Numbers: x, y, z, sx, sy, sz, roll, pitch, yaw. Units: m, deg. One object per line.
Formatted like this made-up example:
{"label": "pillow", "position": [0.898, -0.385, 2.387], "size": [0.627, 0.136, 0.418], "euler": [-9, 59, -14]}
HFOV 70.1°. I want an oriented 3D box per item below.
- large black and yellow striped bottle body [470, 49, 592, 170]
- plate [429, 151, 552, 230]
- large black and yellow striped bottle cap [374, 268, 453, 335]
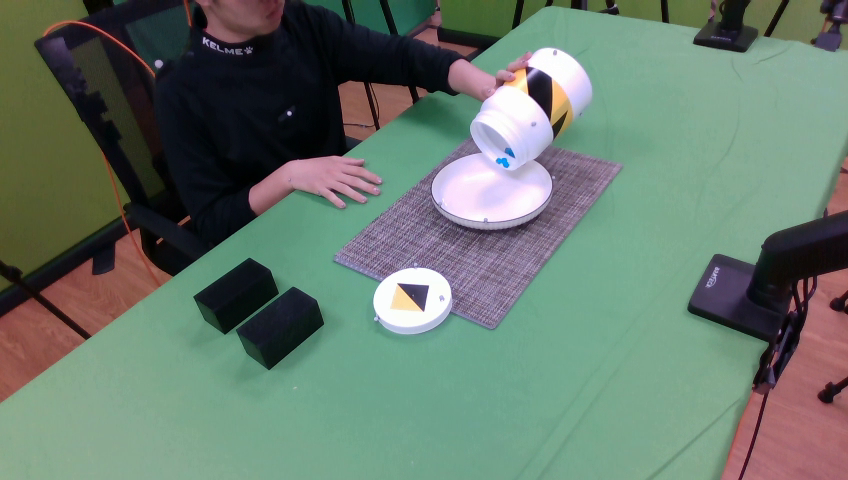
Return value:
{"label": "large black and yellow striped bottle body", "position": [0.179, -0.218, 1.026], "size": [0.184, 0.132, 0.129], "euler": [-45, 51, -13]}
{"label": "plate", "position": [0.113, -0.082, 1.032], "size": [0.207, 0.039, 0.206], "euler": [-4, 41, 4]}
{"label": "large black and yellow striped bottle cap", "position": [-0.015, 0.087, 0.871], "size": [0.115, 0.019, 0.114], "euler": [-6, 43, 6]}
